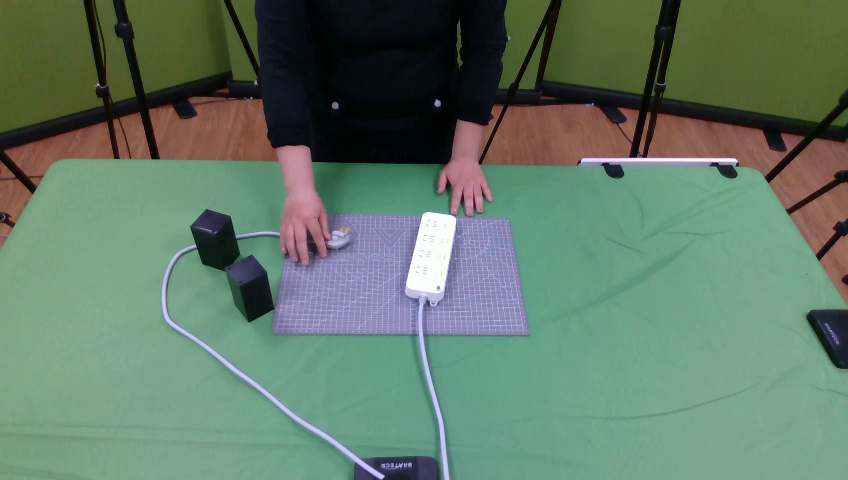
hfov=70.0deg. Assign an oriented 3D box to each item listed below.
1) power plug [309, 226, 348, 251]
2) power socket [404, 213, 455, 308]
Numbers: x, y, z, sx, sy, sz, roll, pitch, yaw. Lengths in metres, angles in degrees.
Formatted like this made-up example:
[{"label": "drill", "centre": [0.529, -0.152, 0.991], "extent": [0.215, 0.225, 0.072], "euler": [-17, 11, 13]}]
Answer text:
[{"label": "power plug", "centre": [-0.182, -0.009, 1.176], "extent": [0.072, 0.035, 0.052], "euler": [18, 64, 1]}, {"label": "power socket", "centre": [0.014, 0.029, 1.159], "extent": [0.072, 0.033, 0.225], "euler": [8, 46, 5]}]
